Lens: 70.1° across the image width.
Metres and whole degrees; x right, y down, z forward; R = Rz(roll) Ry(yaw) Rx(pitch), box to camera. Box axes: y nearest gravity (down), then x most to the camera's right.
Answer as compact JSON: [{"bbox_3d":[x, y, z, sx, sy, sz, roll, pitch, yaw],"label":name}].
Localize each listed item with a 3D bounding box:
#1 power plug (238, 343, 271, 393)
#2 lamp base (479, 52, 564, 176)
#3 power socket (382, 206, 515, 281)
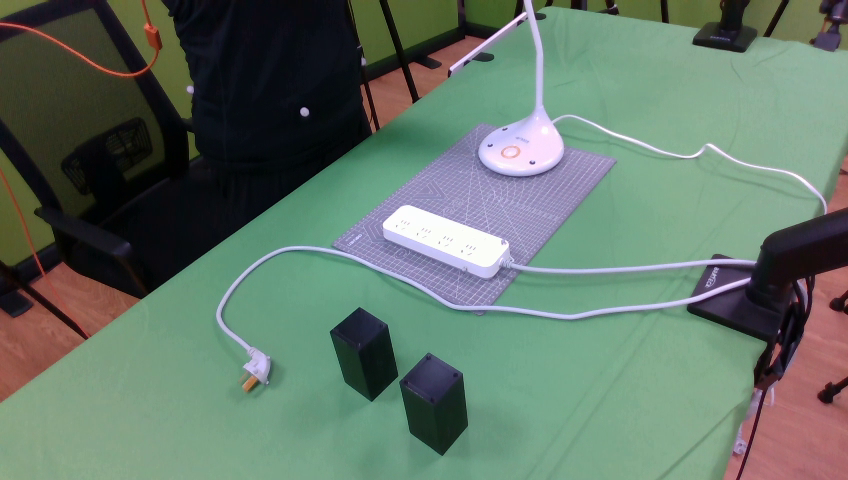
[{"bbox_3d":[-0.230,0.172,0.801,0.072,0.035,0.053,9,51,50],"label":"power plug"},{"bbox_3d":[0.181,-0.235,1.094,0.159,0.181,0.179,18,44,27],"label":"lamp base"},{"bbox_3d":[0.032,0.002,0.950,0.225,0.033,0.072,21,49,29],"label":"power socket"}]
